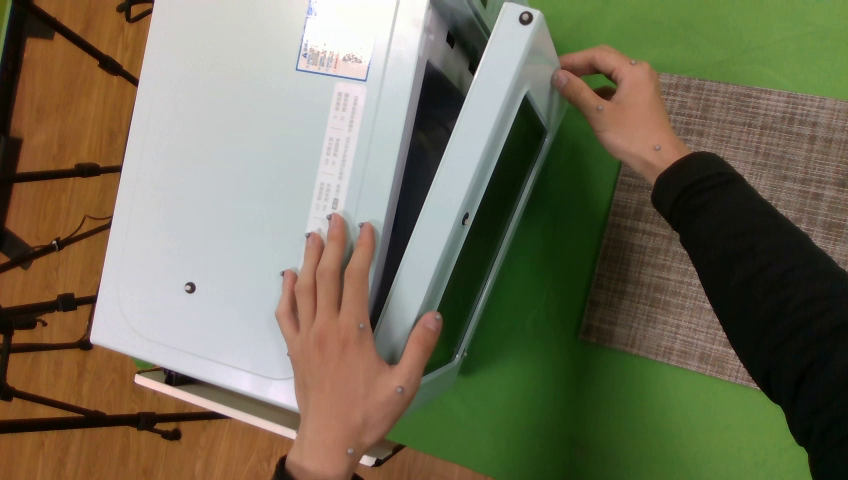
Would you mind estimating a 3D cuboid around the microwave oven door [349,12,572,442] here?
[{"bbox_3d":[0.048,-0.002,0.579,0.039,0.245,0.356,22,95,19],"label":"microwave oven door"}]

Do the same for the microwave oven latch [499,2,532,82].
[{"bbox_3d":[0.100,-0.219,0.675,0.030,0.029,0.079,14,93,18],"label":"microwave oven latch"}]

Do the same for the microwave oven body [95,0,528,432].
[{"bbox_3d":[-0.104,-0.079,0.636,0.324,0.261,0.441,12,93,18],"label":"microwave oven body"}]
